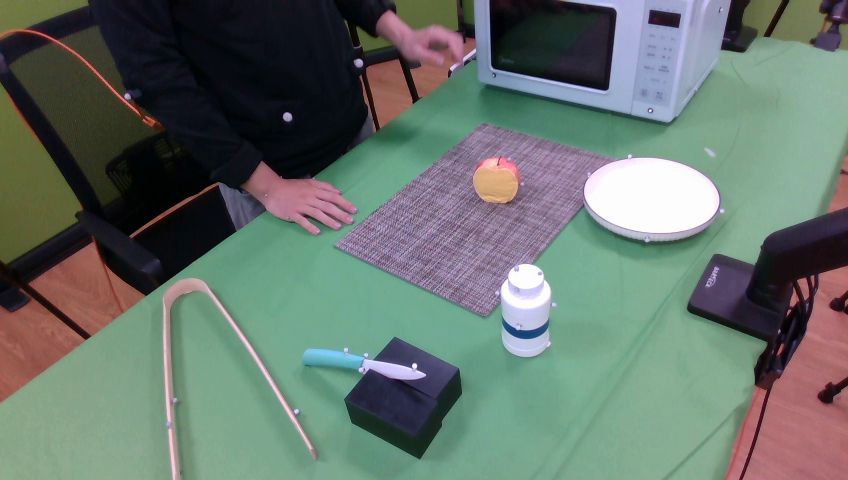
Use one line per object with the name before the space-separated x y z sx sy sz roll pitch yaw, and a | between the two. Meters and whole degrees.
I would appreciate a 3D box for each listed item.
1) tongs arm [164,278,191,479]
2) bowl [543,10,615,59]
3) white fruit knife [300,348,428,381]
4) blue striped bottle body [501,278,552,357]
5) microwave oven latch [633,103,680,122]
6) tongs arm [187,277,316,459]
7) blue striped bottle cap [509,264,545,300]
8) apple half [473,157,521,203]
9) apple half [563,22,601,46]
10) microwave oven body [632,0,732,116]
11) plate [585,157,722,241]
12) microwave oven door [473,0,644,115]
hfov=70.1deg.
tongs arm | -0.313 0.182 0.789 0.051 0.026 0.381 -19 41 -14
bowl | 0.336 -0.439 1.306 0.151 0.077 0.151 -8 30 5
white fruit knife | -0.079 0.154 0.748 0.206 0.027 0.016 1 20 34
blue striped bottle body | 0.130 0.088 0.769 0.063 0.121 0.063 -4 41 4
microwave oven latch | 0.444 -0.249 1.157 0.078 0.029 0.030 20 48 30
tongs arm | -0.241 0.154 0.815 0.028 0.028 0.384 -31 46 -21
blue striped bottle cap | 0.125 0.051 0.735 0.044 0.021 0.044 -5 39 5
apple half | 0.128 -0.107 1.030 0.080 0.075 0.053 4 38 19
apple half | 0.335 -0.448 1.299 0.081 0.033 0.081 -16 34 11
microwave oven body | 0.377 -0.462 1.267 0.438 0.261 0.327 21 48 30
plate | 0.367 -0.063 0.979 0.207 0.039 0.206 -4 41 4
microwave oven door | 0.257 -0.396 1.199 0.353 0.245 0.039 21 48 29
